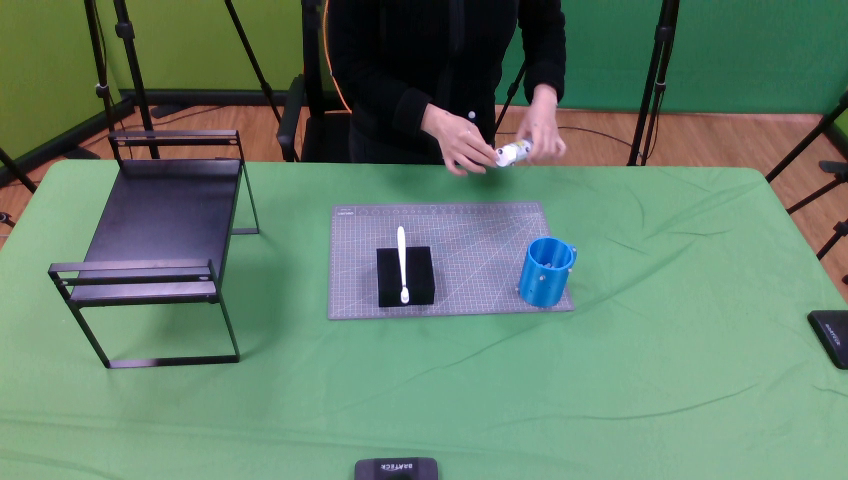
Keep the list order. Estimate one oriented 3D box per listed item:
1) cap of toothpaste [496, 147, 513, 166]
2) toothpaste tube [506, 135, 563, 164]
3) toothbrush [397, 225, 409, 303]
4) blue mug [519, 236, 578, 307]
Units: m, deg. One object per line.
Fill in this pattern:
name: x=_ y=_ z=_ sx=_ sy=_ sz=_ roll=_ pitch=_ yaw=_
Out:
cap of toothpaste: x=0.150 y=-0.157 z=1.131 sx=0.037 sy=0.037 sz=0.011 roll=38 pitch=43 yaw=28
toothpaste tube: x=0.207 y=-0.180 z=1.181 sx=0.055 sy=0.034 sz=0.165 roll=36 pitch=42 yaw=30
toothbrush: x=-0.038 y=0.038 z=1.090 sx=0.014 sy=0.017 sz=0.180 roll=-6 pitch=46 yaw=0
blue mug: x=0.234 y=0.052 z=1.102 sx=0.116 sy=0.106 sz=0.082 roll=-23 pitch=52 yaw=-24
